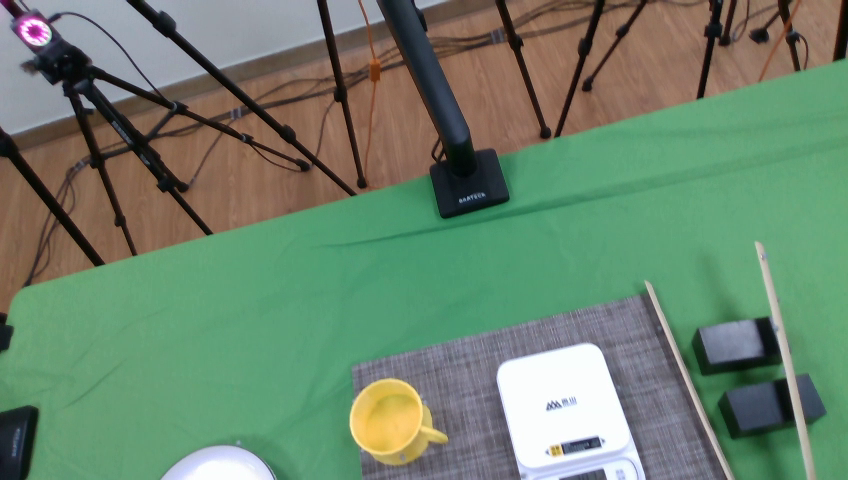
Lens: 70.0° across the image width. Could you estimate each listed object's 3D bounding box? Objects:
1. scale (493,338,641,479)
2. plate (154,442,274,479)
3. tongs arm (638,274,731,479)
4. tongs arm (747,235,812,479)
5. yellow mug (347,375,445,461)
[{"bbox_3d":[0.181,0.234,0.789,0.148,0.032,0.199,-15,59,5],"label":"scale"},{"bbox_3d":[-0.289,0.382,0.818,0.207,0.039,0.206,-6,59,10],"label":"plate"},{"bbox_3d":[0.352,0.208,0.766,0.028,0.028,0.383,-30,54,24],"label":"tongs arm"},{"bbox_3d":[0.413,0.178,0.721,0.050,0.027,0.381,-19,61,34],"label":"tongs arm"},{"bbox_3d":[-0.033,0.244,0.815,0.130,0.064,0.099,11,64,18],"label":"yellow mug"}]
